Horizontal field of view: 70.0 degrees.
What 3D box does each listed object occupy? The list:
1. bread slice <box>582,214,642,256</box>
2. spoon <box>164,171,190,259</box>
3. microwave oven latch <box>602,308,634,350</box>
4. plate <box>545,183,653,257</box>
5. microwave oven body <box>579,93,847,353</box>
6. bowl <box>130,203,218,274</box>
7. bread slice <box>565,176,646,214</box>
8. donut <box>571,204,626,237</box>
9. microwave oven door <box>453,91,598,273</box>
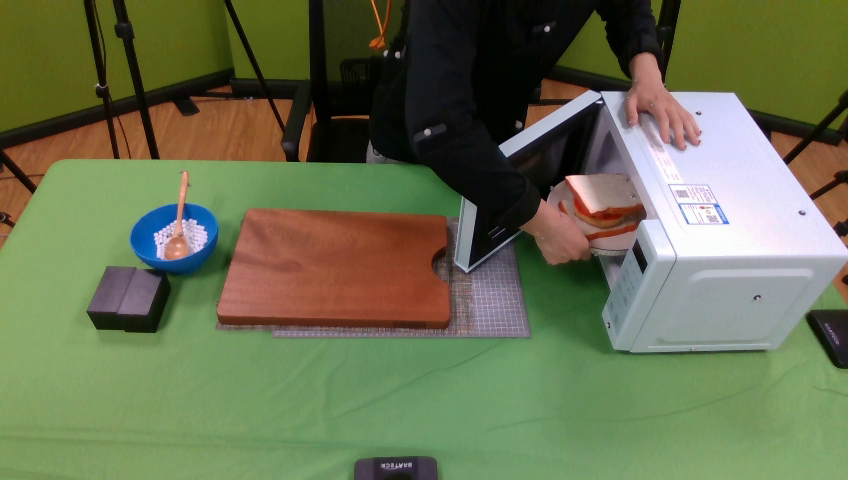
[{"bbox_3d":[0.356,-0.015,1.149,0.131,0.019,0.104,-10,34,6],"label":"bread slice"},{"bbox_3d":[-0.452,-0.046,1.129,0.041,0.022,0.193,-1,69,-3],"label":"spoon"},{"bbox_3d":[0.332,0.153,1.044,0.030,0.029,0.078,-1,45,-4],"label":"microwave oven latch"},{"bbox_3d":[0.330,-0.039,1.144,0.208,0.039,0.206,1,45,-1],"label":"plate"},{"bbox_3d":[0.475,-0.041,1.109,0.326,0.261,0.438,-1,45,-4],"label":"microwave oven body"},{"bbox_3d":[-0.451,0.010,1.116,0.151,0.077,0.150,3,45,-3],"label":"bowl"},{"bbox_3d":[0.332,-0.084,1.100,0.134,0.018,0.106,-5,41,-24],"label":"bread slice"},{"bbox_3d":[0.323,-0.039,1.120,0.099,0.048,0.098,-8,25,4],"label":"donut"},{"bbox_3d":[0.197,-0.115,1.153,0.356,0.245,0.039,-34,57,-31],"label":"microwave oven door"}]
